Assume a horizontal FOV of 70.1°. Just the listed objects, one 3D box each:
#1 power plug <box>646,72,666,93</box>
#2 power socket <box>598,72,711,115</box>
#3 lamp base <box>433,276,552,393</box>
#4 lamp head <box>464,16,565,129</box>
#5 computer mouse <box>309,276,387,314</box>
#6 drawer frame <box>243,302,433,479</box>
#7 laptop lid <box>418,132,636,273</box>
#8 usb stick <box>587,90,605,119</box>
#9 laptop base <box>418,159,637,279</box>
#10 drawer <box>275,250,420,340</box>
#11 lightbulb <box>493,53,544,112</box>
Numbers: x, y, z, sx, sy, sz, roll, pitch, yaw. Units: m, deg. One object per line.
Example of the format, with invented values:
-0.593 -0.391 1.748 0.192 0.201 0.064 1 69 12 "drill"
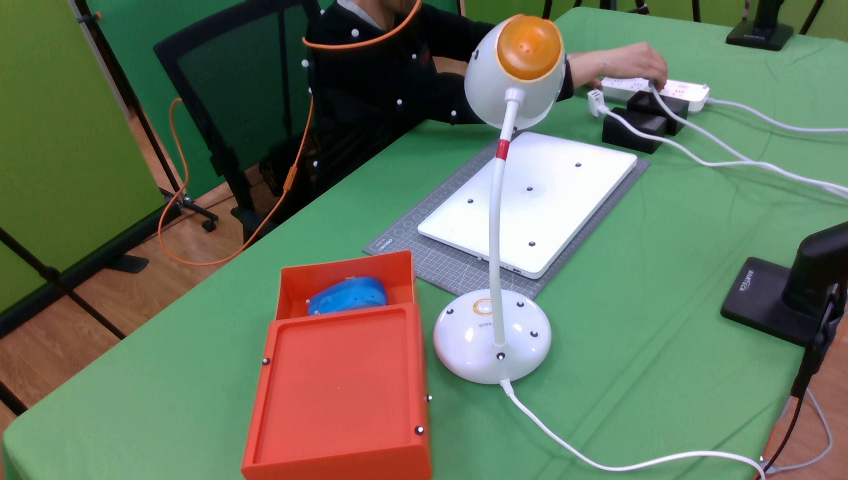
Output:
0.454 -0.304 1.208 0.073 0.053 0.035 -41 44 -22 "power plug"
0.470 -0.304 1.248 0.225 0.033 0.072 20 49 29 "power socket"
0.085 0.075 0.756 0.161 0.181 0.178 -14 44 -6 "lamp base"
0.101 -0.184 0.655 0.112 0.112 0.123 -9 1 0 "lamp head"
-0.112 0.089 0.881 0.117 0.041 0.062 -16 42 0 "computer mouse"
-0.096 0.185 0.738 0.202 0.083 0.212 -8 40 1 "drawer frame"
0.182 -0.083 1.036 0.239 0.013 0.358 22 49 35 "laptop lid"
0.334 -0.257 1.171 0.021 0.059 0.027 -28 44 -4 "usb stick"
0.185 -0.073 1.042 0.233 0.023 0.355 20 47 35 "laptop base"
-0.103 0.117 0.825 0.194 0.073 0.210 -8 40 1 "drawer"
0.109 -0.181 0.679 0.059 0.059 0.108 -9 -4 0 "lightbulb"
